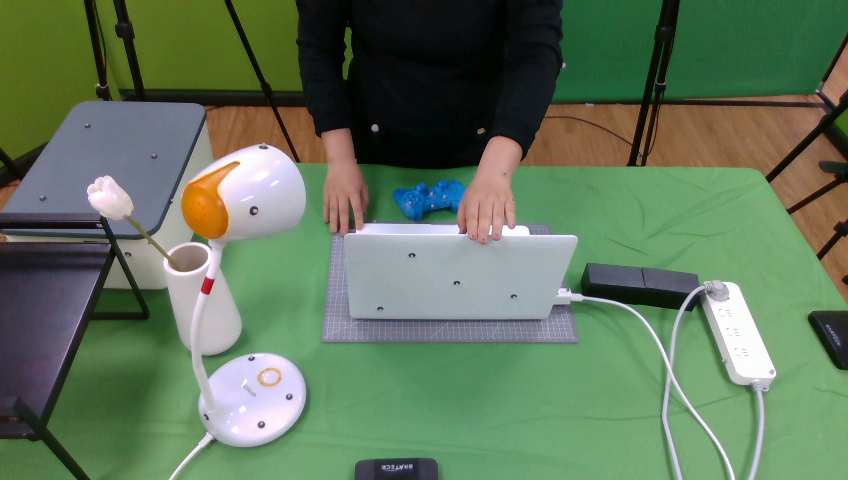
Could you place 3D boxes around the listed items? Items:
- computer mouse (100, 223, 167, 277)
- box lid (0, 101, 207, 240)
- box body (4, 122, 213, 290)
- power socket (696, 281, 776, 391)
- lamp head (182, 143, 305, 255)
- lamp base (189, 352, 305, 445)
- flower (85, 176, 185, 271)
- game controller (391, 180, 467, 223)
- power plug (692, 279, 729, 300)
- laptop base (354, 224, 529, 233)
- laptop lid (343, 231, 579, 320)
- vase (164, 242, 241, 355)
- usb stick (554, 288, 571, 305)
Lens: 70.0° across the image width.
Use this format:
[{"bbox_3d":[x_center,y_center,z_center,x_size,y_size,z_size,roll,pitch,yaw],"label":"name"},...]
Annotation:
[{"bbox_3d":[-0.539,0.015,1.122,0.062,0.041,0.117,30,57,18],"label":"computer mouse"},{"bbox_3d":[-0.559,-0.137,1.083,0.263,0.015,0.369,2,46,-2],"label":"box lid"},{"bbox_3d":[-0.563,-0.086,1.138,0.254,0.161,0.361,2,46,-3],"label":"box body"},{"bbox_3d":[0.550,0.161,1.078,0.072,0.033,0.225,2,46,-1],"label":"power socket"},{"bbox_3d":[-0.216,-0.044,0.697,0.112,0.113,0.123,23,31,17],"label":"lamp head"},{"bbox_3d":[-0.268,0.197,0.876,0.160,0.181,0.179,26,52,19],"label":"lamp base"},{"bbox_3d":[-0.364,0.038,0.894,0.038,0.364,0.044,-4,53,15],"label":"flower"},{"bbox_3d":[0.016,-0.092,1.272,0.155,0.052,0.096,-11,52,-14],"label":"game controller"},{"bbox_3d":[0.522,0.091,1.115,0.072,0.053,0.035,11,48,9],"label":"power plug"},{"bbox_3d":[0.040,0.056,1.149,0.355,0.023,0.234,1,43,-4],"label":"laptop base"},{"bbox_3d":[0.051,0.065,0.975,0.357,0.243,0.013,1,50,-5],"label":"laptop lid"},{"bbox_3d":[-0.349,0.096,0.953,0.098,0.201,0.097,3,47,-3],"label":"vase"},{"bbox_3d":[0.236,0.103,1.101,0.059,0.027,0.021,-2,45,1],"label":"usb stick"}]
